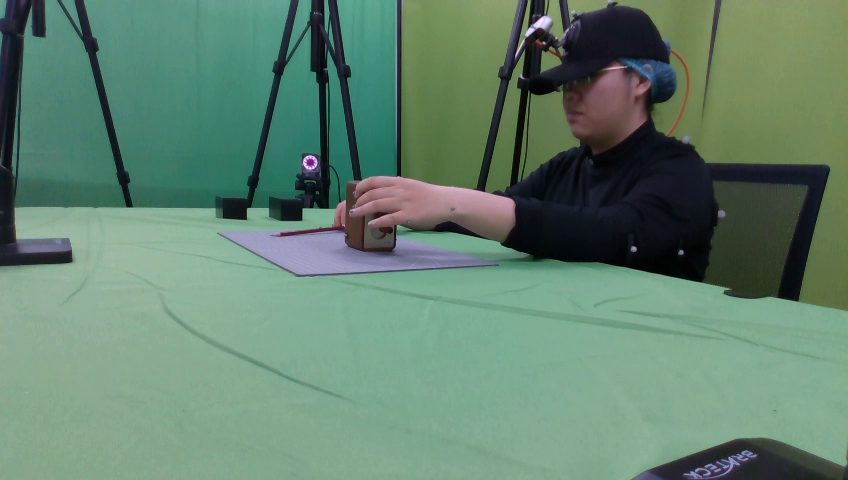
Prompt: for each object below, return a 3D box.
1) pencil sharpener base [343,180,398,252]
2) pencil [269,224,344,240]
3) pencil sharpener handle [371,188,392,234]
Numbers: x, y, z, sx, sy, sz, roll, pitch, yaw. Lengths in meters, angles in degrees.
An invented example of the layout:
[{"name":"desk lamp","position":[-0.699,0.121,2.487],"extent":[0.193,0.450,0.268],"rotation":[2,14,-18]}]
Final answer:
[{"name":"pencil sharpener base","position":[-0.085,-0.039,0.957],"extent":[0.062,0.107,0.076],"rotation":[-1,9,-31]},{"name":"pencil","position":[-0.204,-0.016,1.123],"extent":[0.012,0.012,0.195],"rotation":[9,15,43]},{"name":"pencil sharpener handle","position":[-0.058,-0.043,0.912],"extent":[0.036,0.067,0.030],"rotation":[-1,9,-31]}]
